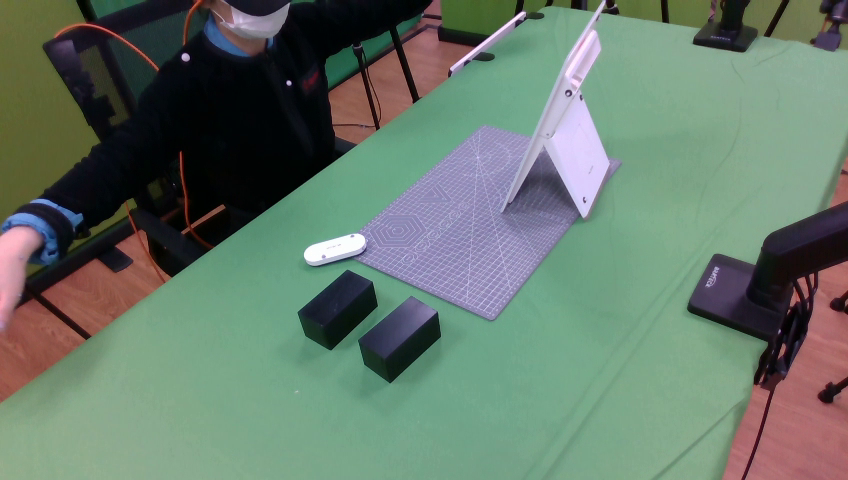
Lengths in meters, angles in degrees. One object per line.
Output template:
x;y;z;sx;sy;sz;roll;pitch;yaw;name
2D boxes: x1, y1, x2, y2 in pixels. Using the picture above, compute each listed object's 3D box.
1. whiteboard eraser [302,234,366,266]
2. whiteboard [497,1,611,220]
-0.144;0.015;0.970;0.101;0.019;0.041;-14;42;-6;whiteboard eraser
0.259;-0.177;0.963;0.143;0.306;0.217;28;48;9;whiteboard
